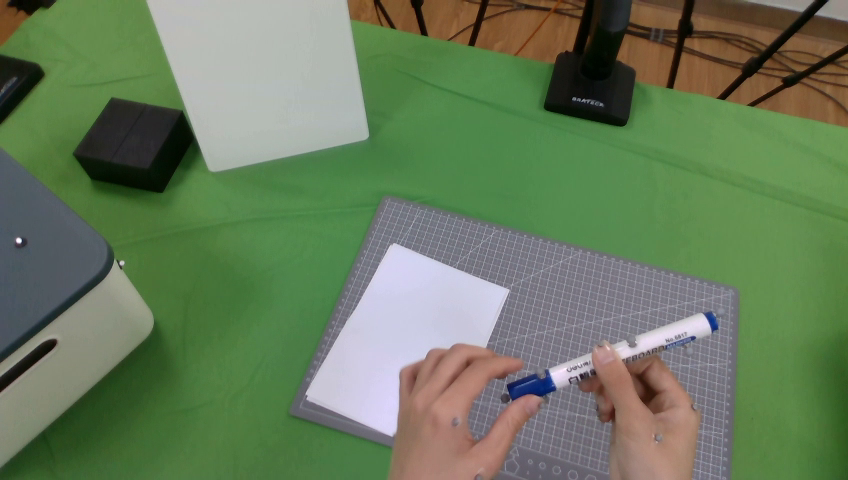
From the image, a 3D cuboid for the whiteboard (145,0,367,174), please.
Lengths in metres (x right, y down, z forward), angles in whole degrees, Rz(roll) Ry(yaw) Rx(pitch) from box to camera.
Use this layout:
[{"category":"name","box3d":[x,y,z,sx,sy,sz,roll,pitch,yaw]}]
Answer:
[{"category":"whiteboard","box3d":[-0.212,-0.271,0.768,0.217,0.308,0.142,-14,40,-10]}]

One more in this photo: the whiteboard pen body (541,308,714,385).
[{"category":"whiteboard pen body","box3d":[0.127,0.078,0.413,0.141,0.017,0.017,-22,59,7]}]

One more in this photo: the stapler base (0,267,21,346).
[{"category":"stapler base","box3d":[-0.476,0.086,0.656,0.041,0.025,0.129,-12,62,14]}]

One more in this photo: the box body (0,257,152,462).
[{"category":"box body","box3d":[-0.497,0.039,0.615,0.362,0.161,0.253,34,64,18]}]

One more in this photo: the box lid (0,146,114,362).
[{"category":"box lid","box3d":[-0.497,-0.001,0.552,0.369,0.015,0.262,35,64,17]}]

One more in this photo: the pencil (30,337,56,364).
[{"category":"pencil","box3d":[-0.404,0.117,0.650,0.012,0.012,0.193,18,50,9]}]

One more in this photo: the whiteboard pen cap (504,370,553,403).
[{"category":"whiteboard pen cap","box3d":[0.073,0.101,0.421,0.033,0.018,0.018,-21,58,12]}]
